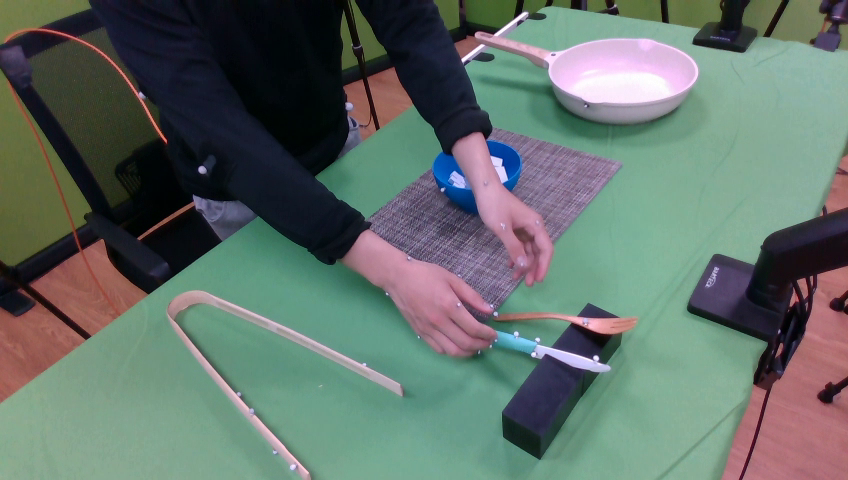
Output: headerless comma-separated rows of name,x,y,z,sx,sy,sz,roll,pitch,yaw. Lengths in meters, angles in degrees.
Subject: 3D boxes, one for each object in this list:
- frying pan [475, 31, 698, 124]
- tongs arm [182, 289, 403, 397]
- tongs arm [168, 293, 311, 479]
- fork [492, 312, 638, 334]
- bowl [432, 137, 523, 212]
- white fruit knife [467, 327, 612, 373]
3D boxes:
frying pan,0.320,-0.371,1.290,0.485,0.103,0.307,28,50,23
tongs arm,-0.192,0.136,0.834,0.385,0.028,0.028,18,49,26
tongs arm,-0.244,0.176,0.787,0.381,0.026,0.051,29,51,36
fork,0.172,0.103,0.775,0.206,0.019,0.028,0,42,40
bowl,0.091,-0.100,1.021,0.151,0.077,0.150,-4,41,4
white fruit knife,0.134,0.134,0.742,0.205,0.027,0.016,7,35,41
